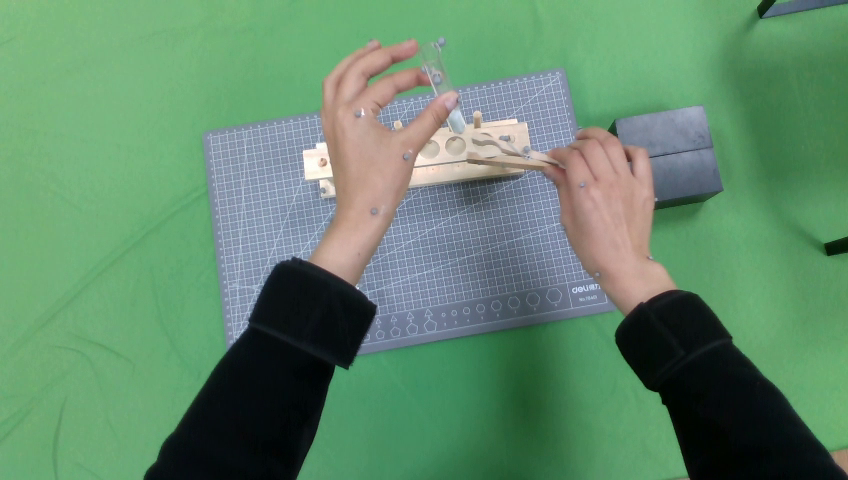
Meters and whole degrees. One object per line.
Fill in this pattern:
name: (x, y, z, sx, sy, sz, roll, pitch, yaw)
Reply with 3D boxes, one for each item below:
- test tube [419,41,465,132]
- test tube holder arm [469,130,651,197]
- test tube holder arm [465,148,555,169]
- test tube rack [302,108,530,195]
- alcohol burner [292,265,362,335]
test tube: (0.017, -0.118, 0.488, 0.017, 0.151, 0.017, -2, 80, 11)
test tube holder arm: (0.127, -0.073, 0.576, 0.178, 0.015, 0.013, 18, 84, 13)
test tube holder arm: (0.083, -0.079, 0.585, 0.087, 0.015, 0.010, 7, 81, 11)
test tube rack: (-0.009, -0.106, 0.686, 0.242, 0.085, 0.066, -7, 80, 1)
alcohol burner: (-0.107, 0.062, 0.649, 0.078, 0.119, 0.077, 0, 79, 1)
